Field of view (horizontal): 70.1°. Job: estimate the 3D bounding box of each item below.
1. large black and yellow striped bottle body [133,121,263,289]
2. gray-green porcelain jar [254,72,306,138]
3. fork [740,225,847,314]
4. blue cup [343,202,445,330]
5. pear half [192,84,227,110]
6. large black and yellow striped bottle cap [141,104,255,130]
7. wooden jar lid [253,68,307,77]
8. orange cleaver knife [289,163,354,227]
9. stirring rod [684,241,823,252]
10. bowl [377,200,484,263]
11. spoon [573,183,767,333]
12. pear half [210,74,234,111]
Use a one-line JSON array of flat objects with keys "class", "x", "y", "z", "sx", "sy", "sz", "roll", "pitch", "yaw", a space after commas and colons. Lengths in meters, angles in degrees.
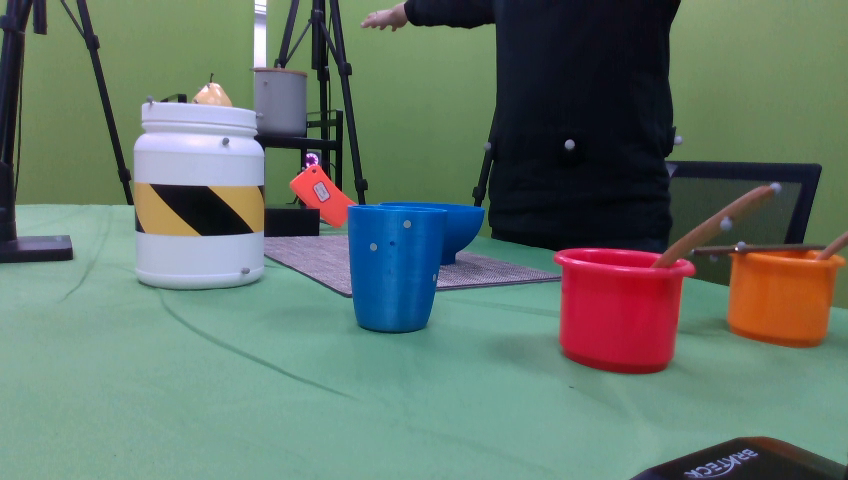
[{"class": "large black and yellow striped bottle body", "x": -0.243, "y": -0.048, "z": 0.659, "sx": 0.131, "sy": 0.184, "sz": 0.130, "roll": 2, "pitch": 7, "yaw": 0}, {"class": "gray-green porcelain jar", "x": -0.299, "y": -0.277, "z": 1.257, "sx": 0.106, "sy": 0.126, "sz": 0.106, "roll": 2, "pitch": 8, "yaw": 0}, {"class": "fork", "x": 0.323, "y": 0.013, "z": 0.485, "sx": 0.028, "sy": 0.018, "sz": 0.207, "roll": 8, "pitch": -38, "yaw": -6}, {"class": "blue cup", "x": -0.027, "y": 0.021, "z": 0.510, "sx": 0.093, "sy": 0.100, "sz": 0.092, "roll": 3, "pitch": 5, "yaw": 0}, {"class": "pear half", "x": -0.405, "y": -0.248, "z": 1.128, "sx": 0.070, "sy": 0.088, "sz": 0.031, "roll": 6, "pitch": 6, "yaw": 2}, {"class": "large black and yellow striped bottle cap", "x": -0.241, "y": -0.131, "z": 0.650, "sx": 0.115, "sy": 0.019, "sz": 0.115, "roll": 3, "pitch": 8, "yaw": 0}, {"class": "wooden jar lid", "x": -0.296, "y": -0.339, "z": 1.250, "sx": 0.108, "sy": 0.020, "sz": 0.108, "roll": 3, "pitch": 10, "yaw": 0}, {"class": "orange cleaver knife", "x": -0.164, "y": -0.066, "z": 1.159, "sx": 0.212, "sy": 0.077, "sz": 0.012, "roll": 39, "pitch": -15, "yaw": -31}, {"class": "stirring rod", "x": 0.289, "y": 0.005, "z": 0.525, "sx": 0.177, "sy": 0.006, "sz": 0.014, "roll": -1, "pitch": 5, "yaw": -26}, {"class": "bowl", "x": 0.008, "y": -0.012, "z": 0.842, "sx": 0.151, "sy": 0.077, "sz": 0.151, "roll": 2, "pitch": 7, "yaw": 0}, {"class": "spoon", "x": 0.158, "y": 0.020, "z": 0.412, "sx": 0.042, "sy": 0.021, "sz": 0.193, "roll": -2, "pitch": -35, "yaw": -21}, {"class": "pear half", "x": -0.401, "y": -0.262, "z": 1.162, "sx": 0.076, "sy": 0.109, "sz": 0.056, "roll": 7, "pitch": 7, "yaw": 2}]
